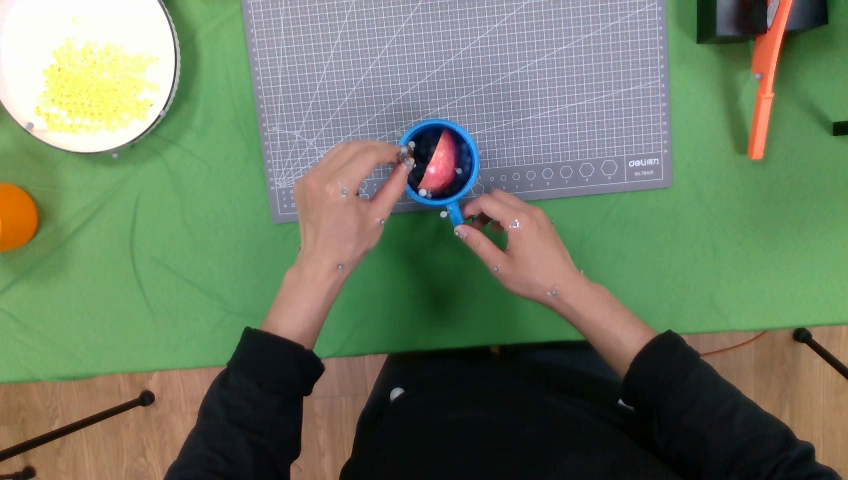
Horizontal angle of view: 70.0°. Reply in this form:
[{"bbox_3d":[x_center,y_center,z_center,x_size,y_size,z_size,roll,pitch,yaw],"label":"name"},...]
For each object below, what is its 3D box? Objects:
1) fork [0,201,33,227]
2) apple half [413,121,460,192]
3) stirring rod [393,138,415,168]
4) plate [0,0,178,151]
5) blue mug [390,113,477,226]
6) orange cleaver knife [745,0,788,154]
[{"bbox_3d":[-0.526,-0.034,0.623,0.209,0.018,0.028,5,99,-43],"label":"fork"},{"bbox_3d":[0.020,-0.081,0.615,0.032,0.081,0.081,24,99,8],"label":"apple half"},{"bbox_3d":[-0.017,-0.081,0.575,0.014,0.176,0.006,-39,91,2],"label":"stirring rod"},{"bbox_3d":[-0.364,-0.201,0.650,0.209,0.038,0.209,0,99,2],"label":"plate"},{"bbox_3d":[0.017,-0.070,0.626,0.082,0.105,0.117,-20,98,4],"label":"blue mug"},{"bbox_3d":[0.344,-0.192,0.614,0.012,0.076,0.213,-2,125,11],"label":"orange cleaver knife"}]
